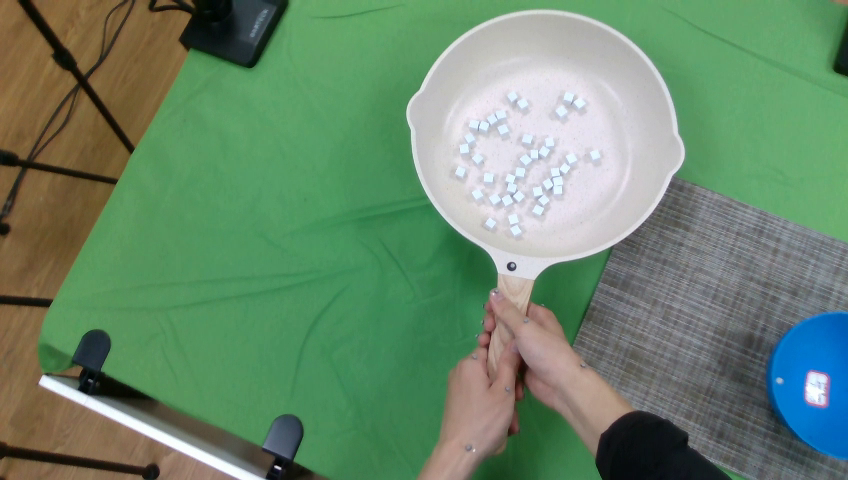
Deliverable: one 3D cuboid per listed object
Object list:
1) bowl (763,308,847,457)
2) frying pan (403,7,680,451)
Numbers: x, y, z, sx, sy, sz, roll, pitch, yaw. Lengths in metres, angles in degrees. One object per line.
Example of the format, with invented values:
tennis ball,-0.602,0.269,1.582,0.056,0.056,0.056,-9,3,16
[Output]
bowl,0.430,0.152,0.647,0.151,0.077,0.150,-1,76,4
frying pan,0.106,-0.021,0.665,0.306,0.103,0.485,12,73,5
